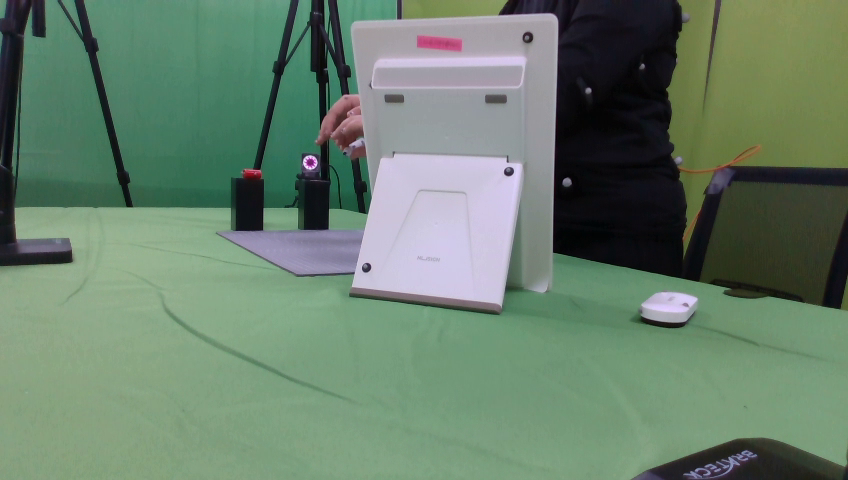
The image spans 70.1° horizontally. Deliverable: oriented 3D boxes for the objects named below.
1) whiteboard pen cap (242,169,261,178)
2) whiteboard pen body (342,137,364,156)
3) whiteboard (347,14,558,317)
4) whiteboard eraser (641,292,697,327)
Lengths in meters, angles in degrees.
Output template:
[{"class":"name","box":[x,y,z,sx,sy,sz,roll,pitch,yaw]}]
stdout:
[{"class":"whiteboard pen cap","box":[-0.326,-0.126,1.144,0.032,0.017,0.017,0,7,-36]},{"class":"whiteboard pen body","box":[-0.123,-0.162,1.051,0.017,0.017,0.140,4,19,6]},{"class":"whiteboard","box":[0.012,-0.056,0.609,0.216,0.305,0.144,5,27,20]},{"class":"whiteboard eraser","box":[0.240,0.066,0.590,0.041,0.019,0.102,6,7,31]}]
